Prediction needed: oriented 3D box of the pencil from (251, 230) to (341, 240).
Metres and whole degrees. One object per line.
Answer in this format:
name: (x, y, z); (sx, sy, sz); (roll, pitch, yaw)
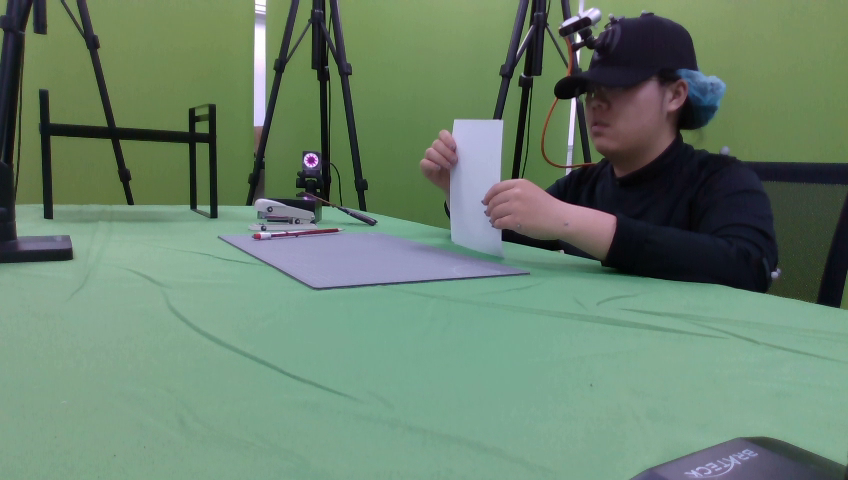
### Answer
pencil: (-0.215, -0.011, 1.049); (0.012, 0.012, 0.195); (9, 9, 39)

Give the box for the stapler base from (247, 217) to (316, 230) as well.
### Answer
stapler base: (-0.276, -0.033, 1.172); (0.131, 0.024, 0.041); (0, 10, -37)

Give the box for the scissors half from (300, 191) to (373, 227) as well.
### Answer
scissors half: (-0.191, -0.069, 1.314); (0.175, 0.013, 0.040); (26, 16, 7)

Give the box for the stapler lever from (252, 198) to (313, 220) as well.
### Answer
stapler lever: (-0.273, -0.058, 1.170); (0.119, 0.040, 0.026); (0, 10, -37)

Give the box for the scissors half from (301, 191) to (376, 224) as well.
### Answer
scissors half: (-0.189, -0.073, 1.334); (0.175, 0.013, 0.040); (22, 11, -10)
